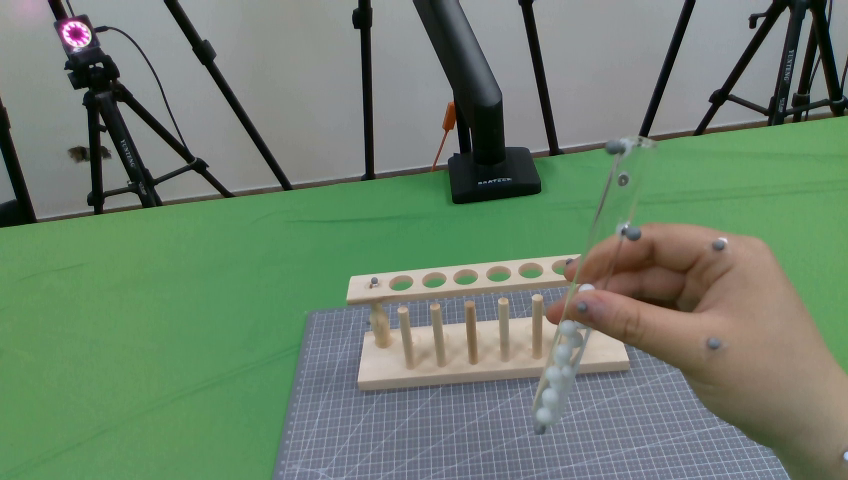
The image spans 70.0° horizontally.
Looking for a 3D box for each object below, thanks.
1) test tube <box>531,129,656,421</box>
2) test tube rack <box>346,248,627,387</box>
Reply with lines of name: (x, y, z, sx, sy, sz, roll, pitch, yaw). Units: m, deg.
test tube: (0.075, 0.023, 0.279, 0.017, 0.151, 0.017, 10, 24, -4)
test tube rack: (0.056, 0.071, 0.549, 0.242, 0.086, 0.066, -6, 36, 5)
